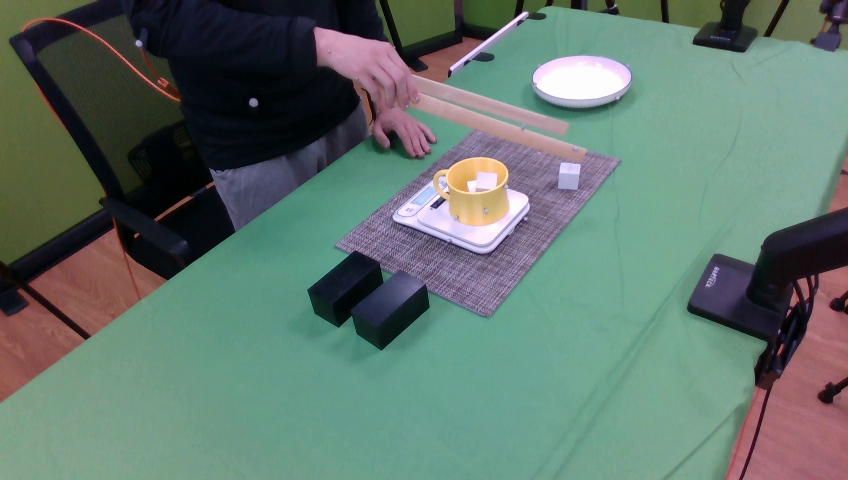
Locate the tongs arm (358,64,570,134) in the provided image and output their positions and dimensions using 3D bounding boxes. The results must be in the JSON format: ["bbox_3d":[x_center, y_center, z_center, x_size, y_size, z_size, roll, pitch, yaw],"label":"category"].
[{"bbox_3d":[0.073,-0.229,0.998,0.390,0.028,0.028,10,40,-20],"label":"tongs arm"}]

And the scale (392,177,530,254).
[{"bbox_3d":[0.060,-0.050,1.006,0.199,0.032,0.149,22,48,30],"label":"scale"}]

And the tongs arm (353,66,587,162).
[{"bbox_3d":[0.078,-0.195,0.952,0.387,0.026,0.050,14,36,-15],"label":"tongs arm"}]

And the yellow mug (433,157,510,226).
[{"bbox_3d":[0.072,-0.082,0.968,0.130,0.064,0.100,13,46,24],"label":"yellow mug"}]

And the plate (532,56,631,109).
[{"bbox_3d":[0.336,-0.336,1.301,0.207,0.039,0.206,-4,41,4],"label":"plate"}]
